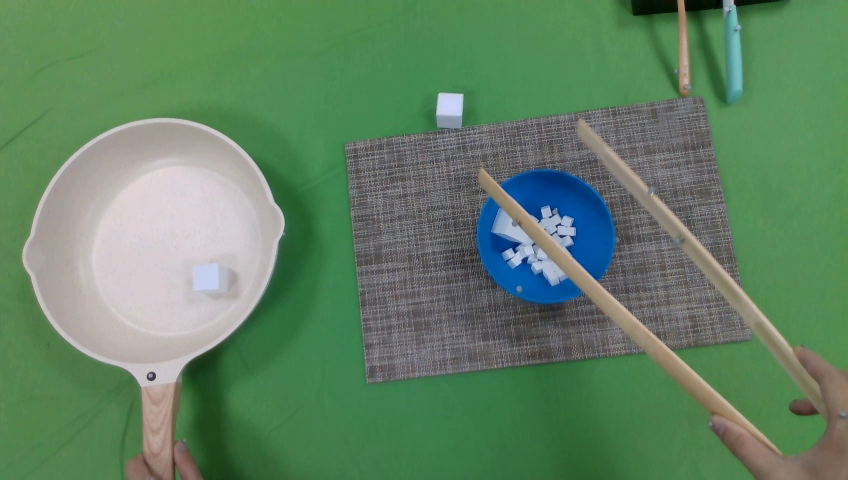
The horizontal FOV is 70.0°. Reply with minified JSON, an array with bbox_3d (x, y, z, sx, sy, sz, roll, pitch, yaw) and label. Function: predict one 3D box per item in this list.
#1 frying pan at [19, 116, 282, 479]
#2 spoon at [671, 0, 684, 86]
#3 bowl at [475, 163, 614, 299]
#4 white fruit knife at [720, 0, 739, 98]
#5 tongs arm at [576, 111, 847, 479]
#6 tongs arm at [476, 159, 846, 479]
[{"bbox_3d":[-0.301,0.099,0.690,0.307,0.103,0.484,-7,72,3],"label":"frying pan"},{"bbox_3d":[0.307,-0.284,0.726,0.041,0.022,0.194,5,102,26],"label":"spoon"},{"bbox_3d":[0.132,-0.004,0.693,0.151,0.077,0.151,0,80,3],"label":"bowl"},{"bbox_3d":[0.363,-0.278,0.727,0.016,0.027,0.207,-6,95,-2],"label":"white fruit knife"},{"bbox_3d":[0.225,0.020,0.526,0.051,0.027,0.380,-24,57,-12],"label":"tongs arm"},{"bbox_3d":[0.166,0.049,0.512,0.028,0.028,0.383,-30,58,-20],"label":"tongs arm"}]
